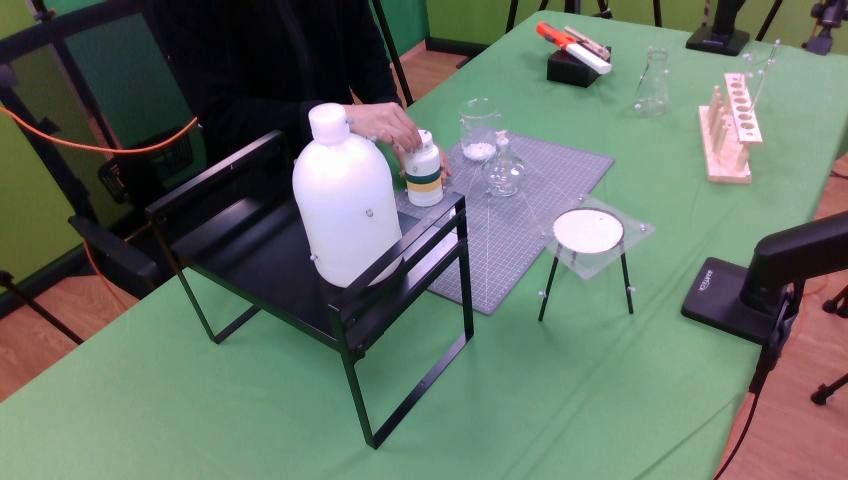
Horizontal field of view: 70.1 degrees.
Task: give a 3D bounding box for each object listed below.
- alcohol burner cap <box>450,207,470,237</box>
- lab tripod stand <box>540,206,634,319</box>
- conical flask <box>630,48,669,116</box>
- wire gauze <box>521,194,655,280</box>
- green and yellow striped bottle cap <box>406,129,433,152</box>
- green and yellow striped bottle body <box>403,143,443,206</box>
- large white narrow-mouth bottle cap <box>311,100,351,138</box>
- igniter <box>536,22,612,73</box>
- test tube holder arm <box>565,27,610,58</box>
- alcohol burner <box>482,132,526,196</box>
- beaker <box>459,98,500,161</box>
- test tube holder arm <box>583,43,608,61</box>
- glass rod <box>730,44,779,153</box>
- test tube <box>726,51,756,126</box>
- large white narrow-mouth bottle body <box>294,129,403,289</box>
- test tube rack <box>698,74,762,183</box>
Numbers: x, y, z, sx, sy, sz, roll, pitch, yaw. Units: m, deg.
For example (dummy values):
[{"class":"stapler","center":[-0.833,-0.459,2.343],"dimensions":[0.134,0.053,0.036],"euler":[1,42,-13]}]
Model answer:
[{"class":"alcohol burner cap","center":[0.057,-0.032,0.987],"dimensions":[0.034,0.048,0.033],"euler":[-4,42,4]},{"class":"lab tripod stand","center":[0.218,0.034,0.821],"dimensions":[0.148,0.132,0.147],"euler":[-4,42,4]},{"class":"conical flask","center":[0.456,-0.317,1.205],"dimensions":[0.075,0.122,0.075],"euler":[-4,41,4]},{"class":"wire gauze","center":[0.207,-0.012,0.772],"dimensions":[0.122,0.011,0.124],"euler":[-28,44,-20]},{"class":"green and yellow striped bottle cap","center":[-0.007,-0.166,1.004],"dimensions":[0.045,0.020,0.045],"euler":[-3,39,3]},{"class":"green and yellow striped bottle body","center":[-0.002,-0.123,1.041],"dimensions":[0.063,0.120,0.063],"euler":[-4,41,4]},{"class":"large white narrow-mouth bottle cap","center":[-0.089,-0.115,0.577],"dimensions":[0.038,0.024,0.037],"euler":[-4,40,3]},{"class":"igniter","center":[0.330,-0.439,1.366],"dimensions":[0.057,0.025,0.274],"euler":[-12,41,-20]},{"class":"test tube holder arm","center":[0.369,-0.450,1.373],"dimensions":[0.013,0.015,0.177],"euler":[-39,41,10]},{"class":"alcohol burner","center":[0.137,-0.136,1.042],"dimensions":[0.078,0.119,0.077],"euler":[-4,43,4]},{"class":"beaker","center":[0.104,-0.208,1.142],"dimensions":[0.074,0.101,0.083],"euler":[-20,42,-15]},{"class":"test tube holder arm","center":[0.379,-0.420,1.341],"dimensions":[0.010,0.015,0.087],"euler":[-39,41,10]},{"class":"glass rod","center":[0.555,-0.234,1.020],"dimensions":[0.008,0.200,0.008],"euler":[2,40,-1]},{"class":"test tube","center":[0.568,-0.268,1.086],"dimensions":[0.017,0.151,0.017],"euler":[-4,46,4]},{"class":"large white narrow-mouth bottle body","center":[-0.082,-0.047,0.634],"dimensions":[0.102,0.195,0.101],"euler":[-4,40,4]},{"class":"test tube rack","center":[0.547,-0.208,1.095],"dimensions":[0.066,0.085,0.242],"euler":[5,42,15]}]
